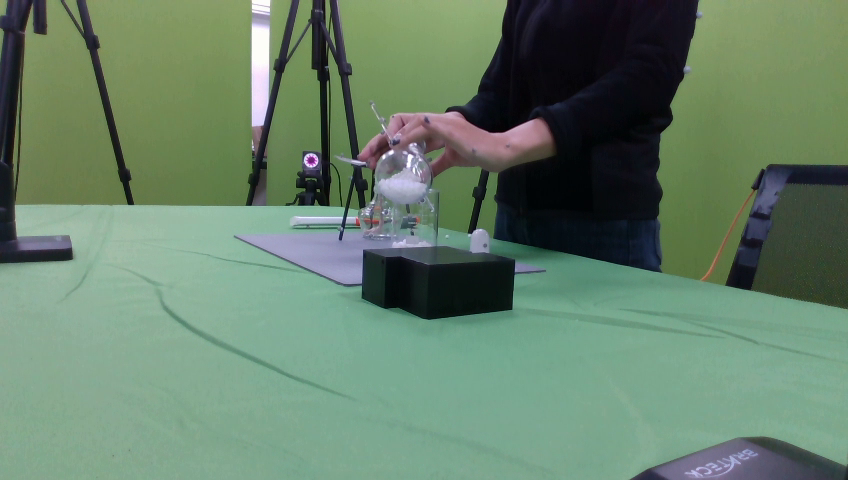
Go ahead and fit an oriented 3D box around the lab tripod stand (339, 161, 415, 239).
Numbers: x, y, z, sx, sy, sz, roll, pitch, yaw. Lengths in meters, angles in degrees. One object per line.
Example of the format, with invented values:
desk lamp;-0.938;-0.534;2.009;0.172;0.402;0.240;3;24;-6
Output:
lab tripod stand;-0.082;-0.070;1.059;0.148;0.131;0.148;4;6;0

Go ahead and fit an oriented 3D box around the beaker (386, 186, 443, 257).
beaker;-0.015;-0.028;0.886;0.084;0.100;0.074;1;7;-9

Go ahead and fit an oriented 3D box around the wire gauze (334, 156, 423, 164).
wire gauze;-0.081;-0.137;1.051;0.122;0.011;0.124;0;8;-30

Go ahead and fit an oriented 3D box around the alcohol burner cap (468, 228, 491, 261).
alcohol burner cap;0.082;0.006;0.878;0.034;0.048;0.034;3;7;0

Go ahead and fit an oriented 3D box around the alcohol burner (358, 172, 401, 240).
alcohol burner;-0.077;-0.061;1.065;0.078;0.119;0.078;4;9;0

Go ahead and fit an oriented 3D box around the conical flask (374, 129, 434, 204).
conical flask;-0.021;-0.107;0.801;0.075;0.075;0.122;2;34;3

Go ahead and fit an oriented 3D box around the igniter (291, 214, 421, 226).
igniter;-0.135;-0.041;1.250;0.278;0.025;0.057;-1;-3;-28

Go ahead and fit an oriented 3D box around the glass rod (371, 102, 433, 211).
glass rod;-0.034;-0.126;0.896;0.008;0.199;0.008;-26;-16;-8
